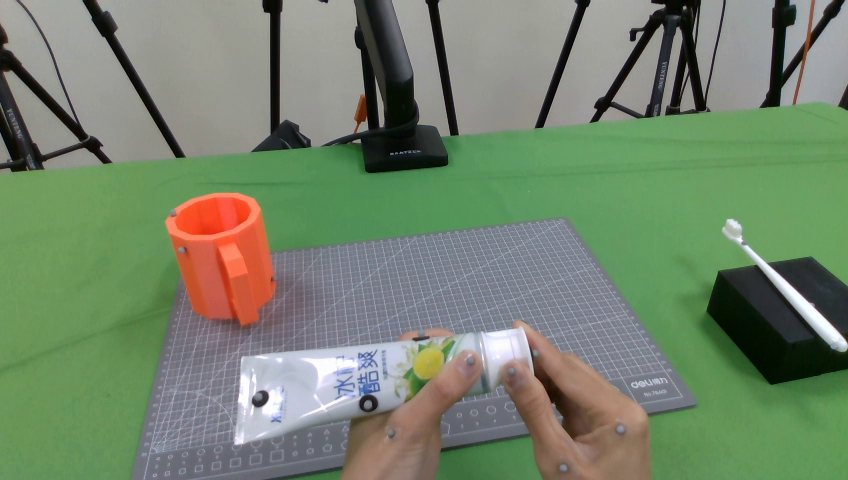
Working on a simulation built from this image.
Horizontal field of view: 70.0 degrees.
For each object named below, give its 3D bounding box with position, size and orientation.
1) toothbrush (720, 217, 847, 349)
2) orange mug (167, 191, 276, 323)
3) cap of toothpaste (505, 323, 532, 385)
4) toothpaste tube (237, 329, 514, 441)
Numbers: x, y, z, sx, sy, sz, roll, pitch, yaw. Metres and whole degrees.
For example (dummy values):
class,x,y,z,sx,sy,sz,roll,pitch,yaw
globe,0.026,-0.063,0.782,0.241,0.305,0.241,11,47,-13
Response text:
class,x,y,z,sx,sy,sz,roll,pitch,yaw
toothbrush,0.320,0.032,0.549,0.014,0.017,0.180,-2,35,-7
orange mug,-0.191,0.020,0.591,0.083,0.101,0.125,-18,34,-23
cap of toothpaste,0.054,0.065,0.346,0.011,0.038,0.037,-9,35,-1
toothpaste tube,-0.025,0.076,0.348,0.165,0.035,0.054,-9,47,-1
